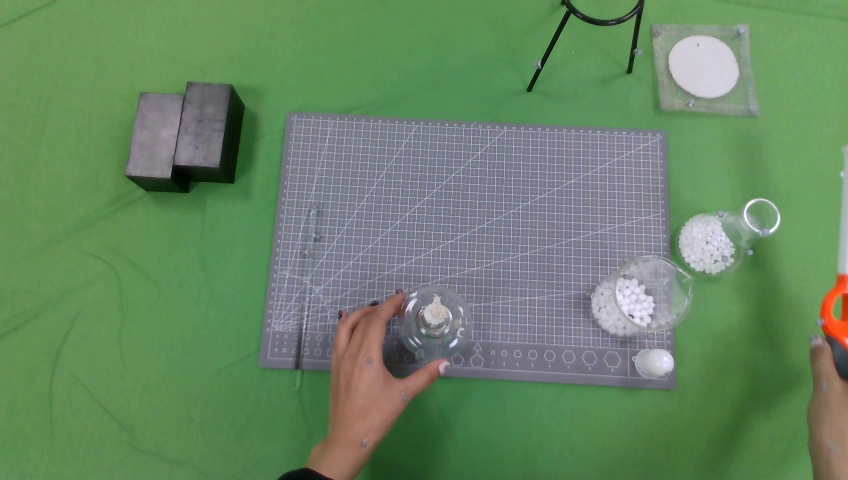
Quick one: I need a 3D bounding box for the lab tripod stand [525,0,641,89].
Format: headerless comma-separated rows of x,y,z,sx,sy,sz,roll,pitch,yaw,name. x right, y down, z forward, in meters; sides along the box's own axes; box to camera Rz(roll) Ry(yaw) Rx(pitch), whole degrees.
0.178,-0.243,0.683,0.148,0.132,0.147,0,78,0,lab tripod stand

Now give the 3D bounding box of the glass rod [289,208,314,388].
-0.135,0.061,0.669,0.008,0.008,0.199,4,80,0,glass rod

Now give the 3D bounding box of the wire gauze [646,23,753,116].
0.338,-0.211,0.741,0.125,0.011,0.121,2,77,-2,wire gauze

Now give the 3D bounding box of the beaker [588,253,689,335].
0.217,0.059,0.626,0.084,0.100,0.073,-20,77,-5,beaker

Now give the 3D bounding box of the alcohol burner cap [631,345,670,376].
0.242,0.126,0.640,0.034,0.048,0.033,0,76,0,alcohol burner cap

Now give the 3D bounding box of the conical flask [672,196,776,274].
0.318,-0.011,0.634,0.075,0.122,0.075,0,76,0,conical flask

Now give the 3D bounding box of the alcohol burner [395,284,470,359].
0.008,0.080,0.612,0.078,0.119,0.077,0,75,2,alcohol burner

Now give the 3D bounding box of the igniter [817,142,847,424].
0.415,0.043,0.591,0.057,0.025,0.276,3,91,-3,igniter
